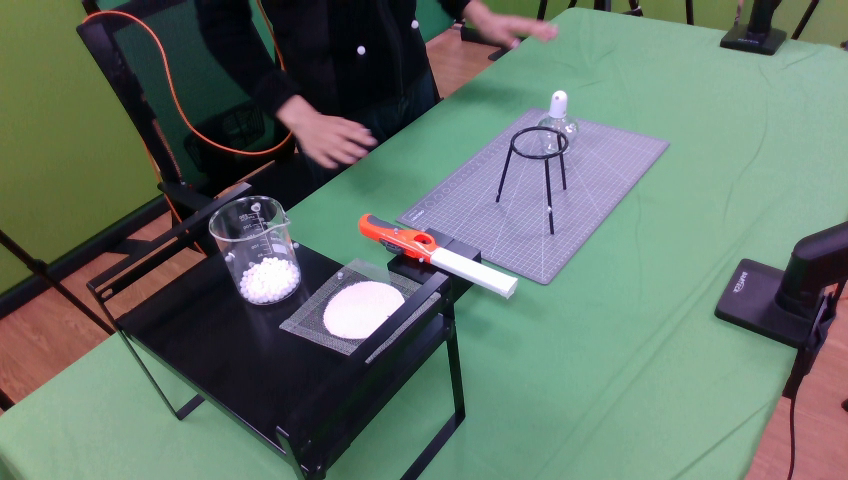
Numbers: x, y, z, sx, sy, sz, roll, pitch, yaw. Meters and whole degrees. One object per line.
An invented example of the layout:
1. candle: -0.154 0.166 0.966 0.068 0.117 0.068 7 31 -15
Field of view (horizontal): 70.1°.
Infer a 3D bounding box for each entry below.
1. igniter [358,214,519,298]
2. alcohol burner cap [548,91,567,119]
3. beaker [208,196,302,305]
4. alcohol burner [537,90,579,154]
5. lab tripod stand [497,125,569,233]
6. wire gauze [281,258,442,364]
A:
1. igniter: 0.009 0.018 0.876 0.274 0.025 0.057 23 46 28
2. alcohol burner cap: 0.245 -0.247 1.098 0.034 0.048 0.033 -1 45 2
3. beaker: -0.173 0.014 0.647 0.084 0.101 0.073 -1 41 8
4. alcohol burner: 0.248 -0.220 1.121 0.078 0.119 0.077 -5 38 5
5. lab tripod stand: 0.189 -0.104 0.979 0.148 0.132 0.147 -3 41 3
6. wire gauze: -0.065 0.071 0.633 0.120 0.011 0.125 19 45 31
